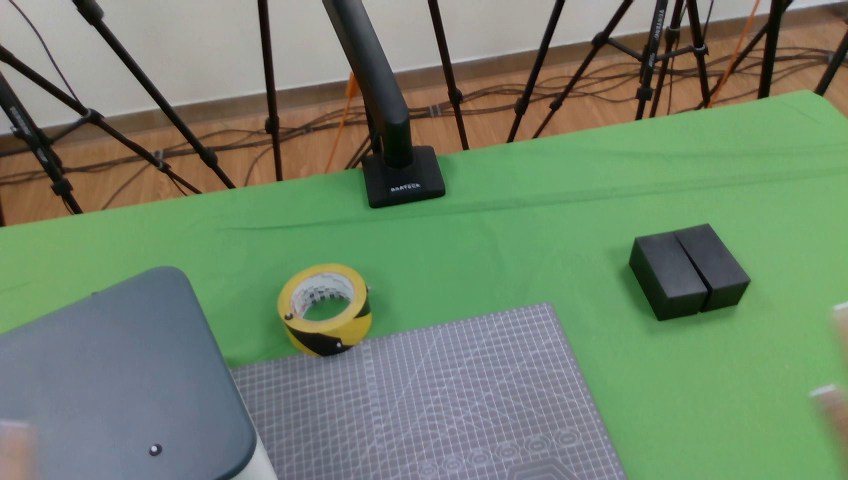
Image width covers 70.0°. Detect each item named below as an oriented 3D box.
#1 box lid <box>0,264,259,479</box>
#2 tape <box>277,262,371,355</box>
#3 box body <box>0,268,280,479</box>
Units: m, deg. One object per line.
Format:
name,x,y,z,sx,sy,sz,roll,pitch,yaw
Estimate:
box lid,-0.353,0.177,0.530,0.372,0.015,0.260,-26,53,-18
tape,-0.126,0.085,0.768,0.117,0.053,0.115,-2,46,3
box body,-0.350,0.226,0.586,0.364,0.162,0.251,-27,52,-18
